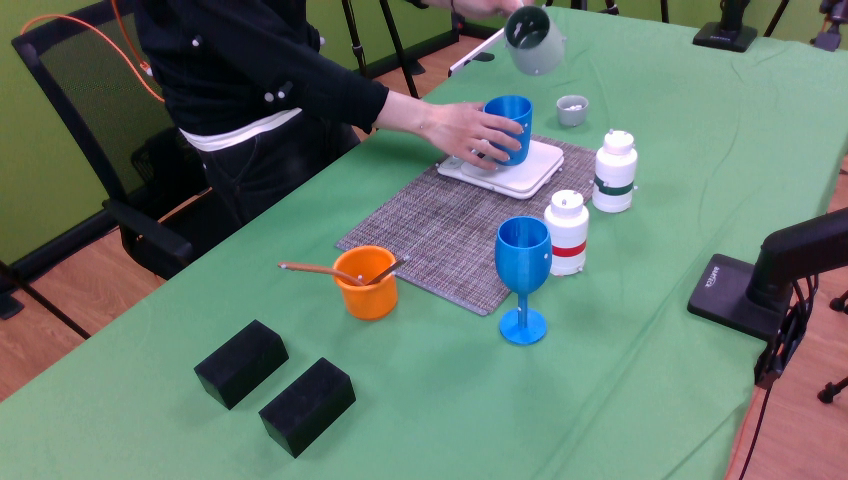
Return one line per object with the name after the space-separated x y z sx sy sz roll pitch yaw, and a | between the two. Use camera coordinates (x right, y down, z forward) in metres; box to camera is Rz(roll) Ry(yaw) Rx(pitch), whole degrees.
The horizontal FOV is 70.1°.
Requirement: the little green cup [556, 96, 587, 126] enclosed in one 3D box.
0.295 -0.258 1.214 0.061 0.039 0.061 -5 41 5 | little green cup

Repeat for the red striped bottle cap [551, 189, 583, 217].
0.200 -0.052 0.843 0.044 0.018 0.044 -2 42 2 | red striped bottle cap

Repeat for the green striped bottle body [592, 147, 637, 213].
0.307 -0.107 0.976 0.063 0.120 0.063 -4 41 4 | green striped bottle body

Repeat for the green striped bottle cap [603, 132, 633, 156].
0.302 -0.150 0.939 0.044 0.020 0.044 -3 41 3 | green striped bottle cap

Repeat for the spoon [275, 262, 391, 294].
-0.120 0.050 0.830 0.041 0.195 0.021 31 97 45 | spoon

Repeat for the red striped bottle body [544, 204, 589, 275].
0.206 -0.011 0.877 0.063 0.120 0.062 -5 41 4 | red striped bottle body

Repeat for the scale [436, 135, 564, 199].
0.137 -0.142 1.101 0.199 0.032 0.149 22 48 30 | scale

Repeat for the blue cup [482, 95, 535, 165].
0.148 -0.187 1.052 0.092 0.101 0.092 -6 42 6 | blue cup

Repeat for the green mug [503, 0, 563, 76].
0.180 -0.354 1.038 0.092 0.105 0.125 -24 74 17 | green mug

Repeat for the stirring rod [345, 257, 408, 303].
-0.067 0.056 0.814 0.014 0.175 0.006 -22 81 -37 | stirring rod

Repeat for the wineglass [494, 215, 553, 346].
0.127 0.055 0.770 0.074 0.173 0.073 -4 41 4 | wineglass
